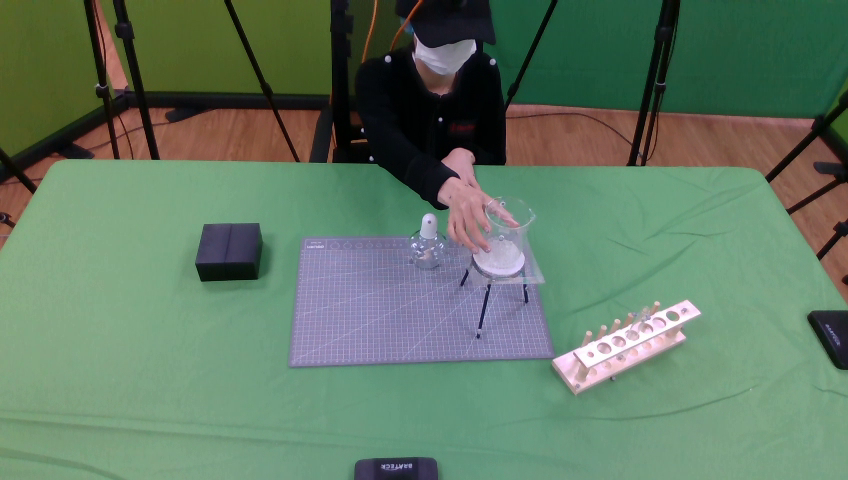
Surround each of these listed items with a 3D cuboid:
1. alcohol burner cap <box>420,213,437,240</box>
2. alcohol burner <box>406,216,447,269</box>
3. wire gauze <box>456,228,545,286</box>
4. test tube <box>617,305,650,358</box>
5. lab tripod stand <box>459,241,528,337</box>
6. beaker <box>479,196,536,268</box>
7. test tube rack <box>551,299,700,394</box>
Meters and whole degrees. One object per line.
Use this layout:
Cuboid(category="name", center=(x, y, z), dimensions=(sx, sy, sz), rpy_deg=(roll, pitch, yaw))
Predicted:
Cuboid(category="alcohol burner cap", center=(0.010, -0.027, 1.109), dimensions=(0.034, 0.048, 0.033), rpy_deg=(3, 44, -3))
Cuboid(category="alcohol burner", center=(0.006, -0.003, 1.134), dimensions=(0.078, 0.120, 0.077), rpy_deg=(2, 48, -2))
Cuboid(category="wire gauze", center=(0.126, 0.029, 1.006), dimensions=(0.125, 0.011, 0.120), rpy_deg=(-4, 46, -10))
Cuboid(category="test tube", center=(0.333, 0.149, 0.967), dimensions=(0.017, 0.151, 0.017), rpy_deg=(0, 52, 1))
Cuboid(category="lab tripod stand", center=(0.122, 0.075, 1.054), dimensions=(0.148, 0.132, 0.147), rpy_deg=(3, 44, -3))
Cuboid(category="beaker", center=(0.130, -0.010, 0.975), dimensions=(0.084, 0.101, 0.073), rpy_deg=(3, 47, -3))
Cuboid(category="test tube rack", center=(0.339, 0.166, 1.021), dimensions=(0.242, 0.085, 0.066), rpy_deg=(-19, 50, -21))
